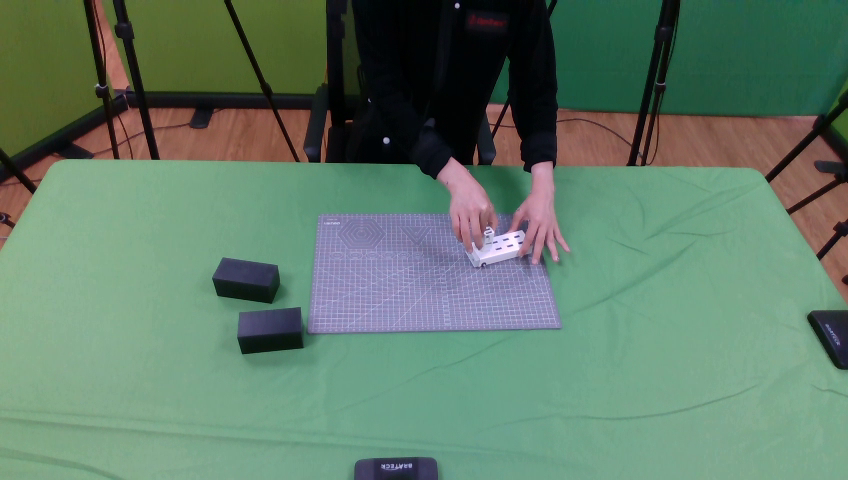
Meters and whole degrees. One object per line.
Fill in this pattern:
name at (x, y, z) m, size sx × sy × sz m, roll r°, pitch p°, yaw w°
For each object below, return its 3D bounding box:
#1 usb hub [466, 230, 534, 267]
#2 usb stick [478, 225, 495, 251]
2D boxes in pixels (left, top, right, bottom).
usb hub at (0.148, 0.017, 1.186) m, size 0.125 × 0.025 × 0.049 m, roll -13°, pitch 50°, yaw -16°
usb stick at (0.119, 0.001, 1.158) m, size 0.021 × 0.059 × 0.027 m, roll -14°, pitch 50°, yaw -18°
